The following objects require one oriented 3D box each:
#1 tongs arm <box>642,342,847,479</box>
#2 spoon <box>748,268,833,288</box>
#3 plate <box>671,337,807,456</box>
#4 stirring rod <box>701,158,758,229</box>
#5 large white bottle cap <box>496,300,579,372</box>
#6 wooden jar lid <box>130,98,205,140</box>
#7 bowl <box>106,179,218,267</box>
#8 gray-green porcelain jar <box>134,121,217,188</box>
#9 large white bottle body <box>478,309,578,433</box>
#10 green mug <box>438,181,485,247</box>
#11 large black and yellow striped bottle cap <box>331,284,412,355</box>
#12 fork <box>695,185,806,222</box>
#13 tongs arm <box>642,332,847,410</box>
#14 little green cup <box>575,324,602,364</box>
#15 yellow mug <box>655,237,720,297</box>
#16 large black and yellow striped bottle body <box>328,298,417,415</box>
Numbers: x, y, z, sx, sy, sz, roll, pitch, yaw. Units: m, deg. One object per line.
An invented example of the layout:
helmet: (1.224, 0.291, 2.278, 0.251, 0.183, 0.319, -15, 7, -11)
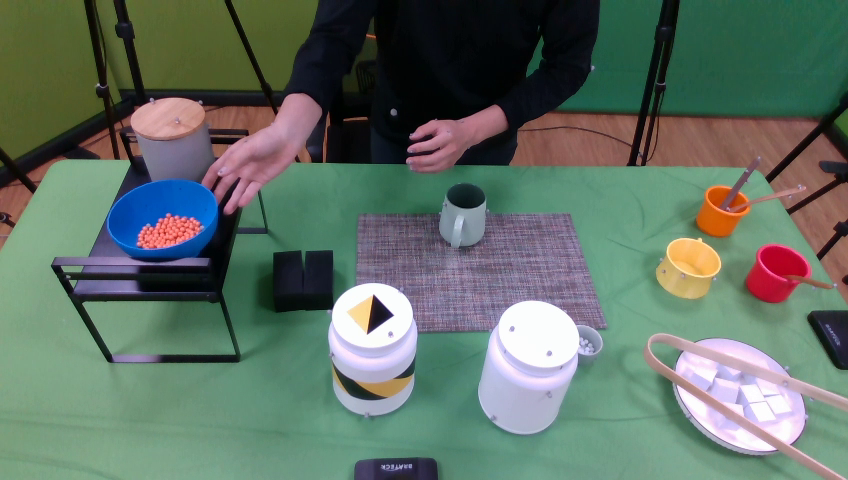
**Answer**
tongs arm: (0.504, 0.279, 0.918, 0.386, 0.028, 0.028, 33, 59, 22)
spoon: (0.660, 0.068, 1.097, 0.041, 0.193, 0.021, -4, 91, -6)
plate: (0.504, 0.254, 0.984, 0.208, 0.039, 0.206, 2, 46, -2)
stirring rod: (0.634, -0.096, 1.257, 0.014, 0.006, 0.176, 38, 97, 30)
large white bottle cap: (0.160, 0.133, 0.853, 0.115, 0.018, 0.114, 3, 46, -3)
wooden jar lid: (-0.393, -0.183, 0.934, 0.108, 0.021, 0.107, 2, 43, -2)
bowl: (-0.375, -0.013, 0.893, 0.151, 0.077, 0.150, 2, 46, -2)
gray-green porcelain jar: (-0.397, -0.140, 0.979, 0.106, 0.127, 0.105, 2, 47, -2)
large white bottle body: (0.156, 0.192, 0.913, 0.131, 0.185, 0.130, 2, 46, -2)
green mug: (0.071, -0.039, 1.177, 0.092, 0.105, 0.124, 12, 47, 7)
large black and yellow striped bottle cap: (-0.073, 0.110, 0.858, 0.115, 0.019, 0.114, 2, 46, -2)
fork: (0.658, -0.074, 1.230, 0.207, 0.019, 0.028, -23, 36, 37)
tongs arm: (0.546, 0.227, 0.968, 0.384, 0.026, 0.050, 22, 52, 13)
little green cup: (0.269, 0.179, 1.035, 0.061, 0.039, 0.061, 2, 46, -2)
yellow mug: (0.509, 0.041, 1.167, 0.099, 0.064, 0.130, 24, 48, 18)
large black and yellow striped bottle body: (-0.078, 0.167, 0.920, 0.131, 0.185, 0.130, 2, 46, -2)
